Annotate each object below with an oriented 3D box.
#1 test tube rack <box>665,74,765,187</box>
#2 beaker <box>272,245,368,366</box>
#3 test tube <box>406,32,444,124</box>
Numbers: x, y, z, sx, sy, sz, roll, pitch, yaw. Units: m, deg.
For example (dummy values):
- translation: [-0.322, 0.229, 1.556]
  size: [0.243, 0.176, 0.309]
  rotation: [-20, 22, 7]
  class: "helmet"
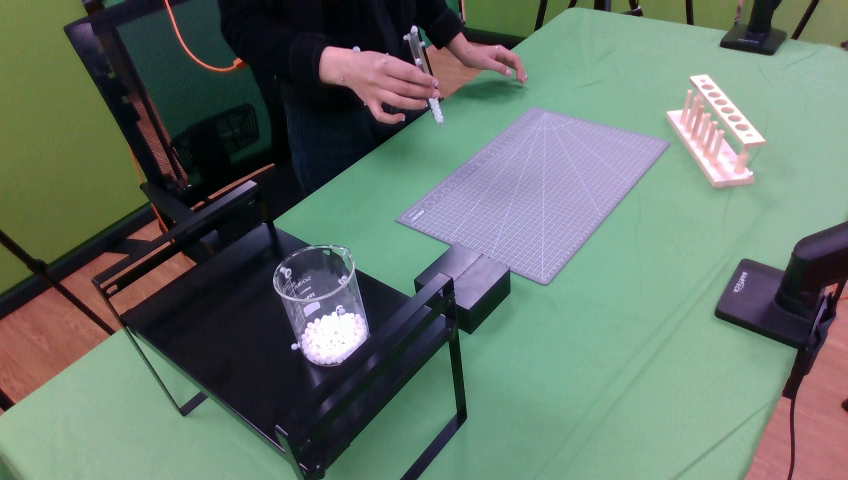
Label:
- translation: [0.512, -0.201, 1.082]
  size: [0.067, 0.085, 0.241]
  rotation: [-6, 41, 2]
  class: "test tube rack"
- translation: [-0.093, 0.064, 0.578]
  size: [0.073, 0.101, 0.084]
  rotation: [21, 48, 29]
  class: "beaker"
- translation: [0.003, -0.241, 0.912]
  size: [0.017, 0.151, 0.017]
  rotation: [-14, 38, 11]
  class: "test tube"
